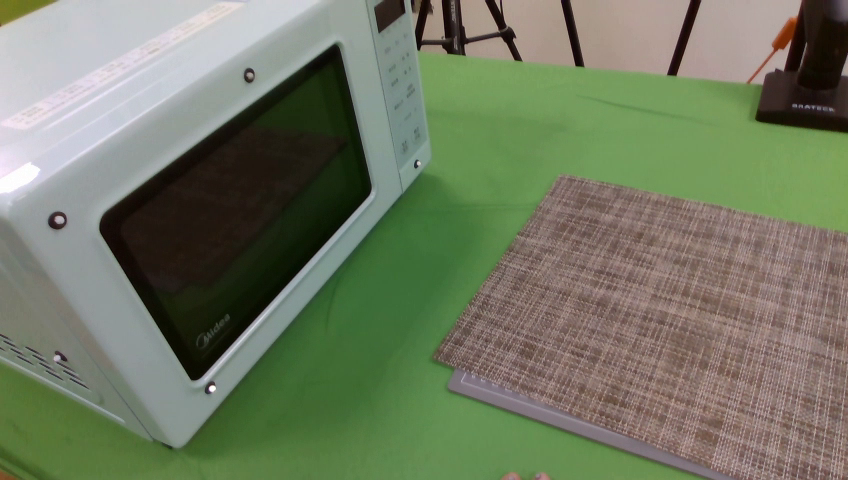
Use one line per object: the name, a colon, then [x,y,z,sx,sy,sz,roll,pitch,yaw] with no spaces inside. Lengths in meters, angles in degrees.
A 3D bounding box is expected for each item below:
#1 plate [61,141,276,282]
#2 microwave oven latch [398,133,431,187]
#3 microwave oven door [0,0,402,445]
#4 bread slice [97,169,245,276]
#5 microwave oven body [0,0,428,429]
plate: [-0.249,-0.029,0.609,0.209,0.038,0.207,-6,40,5]
microwave oven latch: [-0.019,-0.096,0.715,0.030,0.030,0.079,15,46,25]
microwave oven door: [-0.136,-0.039,0.510,0.039,0.246,0.354,14,45,25]
bread slice: [-0.251,-0.027,0.614,0.104,0.019,0.131,23,53,31]
microwave oven body: [-0.244,-0.092,0.601,0.324,0.263,0.440,14,46,25]
